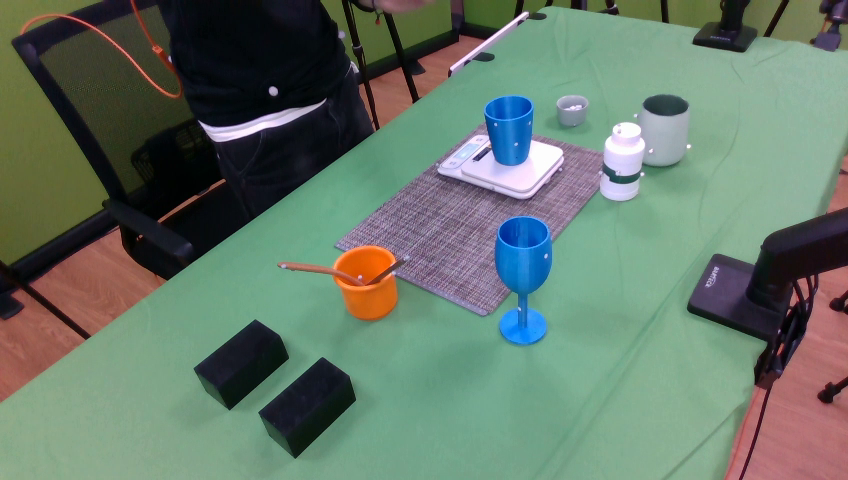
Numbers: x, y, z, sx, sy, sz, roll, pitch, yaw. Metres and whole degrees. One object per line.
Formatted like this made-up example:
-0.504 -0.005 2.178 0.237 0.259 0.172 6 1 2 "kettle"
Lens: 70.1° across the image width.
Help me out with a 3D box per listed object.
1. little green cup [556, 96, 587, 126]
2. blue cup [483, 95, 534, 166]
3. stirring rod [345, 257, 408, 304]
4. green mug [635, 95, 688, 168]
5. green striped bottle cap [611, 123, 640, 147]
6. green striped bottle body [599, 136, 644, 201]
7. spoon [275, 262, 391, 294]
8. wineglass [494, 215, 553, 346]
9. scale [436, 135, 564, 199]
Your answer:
0.295 -0.258 1.214 0.061 0.039 0.061 -4 42 4 "little green cup"
0.150 -0.187 1.051 0.092 0.101 0.092 -6 41 6 "blue cup"
-0.067 0.057 0.815 0.014 0.175 0.006 -24 82 -38 "stirring rod"
0.421 -0.201 1.081 0.092 0.105 0.125 5 42 15 "green mug"
0.322 -0.168 0.963 0.044 0.020 0.044 -3 42 3 "green striped bottle cap"
0.326 -0.128 0.997 0.063 0.120 0.063 -4 41 4 "green striped bottle body"
-0.120 0.050 0.830 0.041 0.195 0.021 32 97 45 "spoon"
0.126 0.055 0.770 0.074 0.173 0.073 -4 40 4 "wineglass"
0.137 -0.142 1.101 0.199 0.032 0.149 22 48 30 "scale"
